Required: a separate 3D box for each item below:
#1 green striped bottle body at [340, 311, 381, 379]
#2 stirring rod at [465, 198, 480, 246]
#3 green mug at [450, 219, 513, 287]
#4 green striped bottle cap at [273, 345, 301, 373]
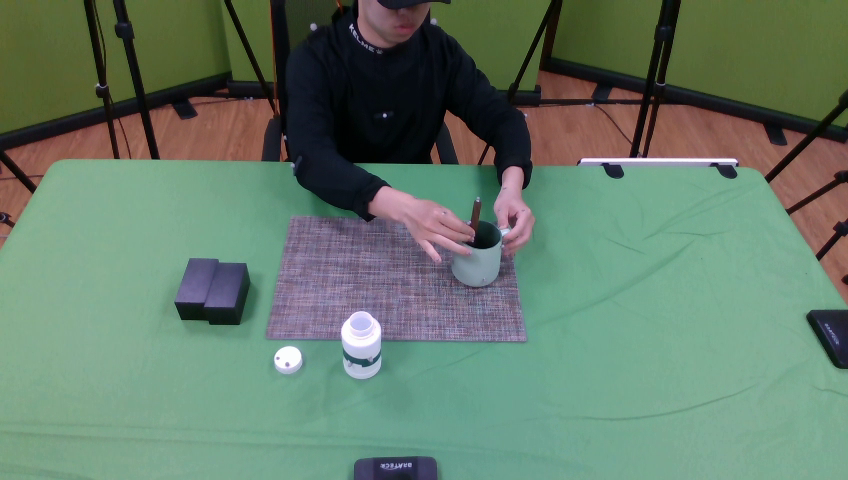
[{"bbox_3d":[-0.101,0.164,0.964,0.063,0.120,0.063,2,46,-2],"label":"green striped bottle body"},{"bbox_3d":[0.081,-0.003,1.084,0.014,0.177,0.006,4,41,-3],"label":"stirring rod"},{"bbox_3d":[0.111,0.019,1.125,0.125,0.105,0.092,-22,52,-24],"label":"green mug"},{"bbox_3d":[-0.225,0.195,0.997,0.044,0.020,0.044,2,50,-3],"label":"green striped bottle cap"}]
